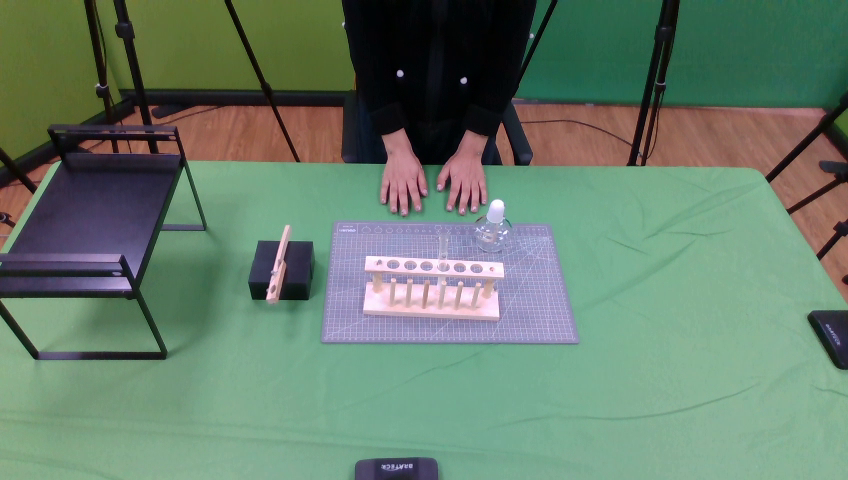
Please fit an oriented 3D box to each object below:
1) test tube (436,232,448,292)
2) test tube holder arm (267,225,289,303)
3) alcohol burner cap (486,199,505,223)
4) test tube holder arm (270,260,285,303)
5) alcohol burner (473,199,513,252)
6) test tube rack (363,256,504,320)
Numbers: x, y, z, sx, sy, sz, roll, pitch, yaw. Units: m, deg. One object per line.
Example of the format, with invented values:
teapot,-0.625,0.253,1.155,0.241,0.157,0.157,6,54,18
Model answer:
test tube,0.030,0.042,1.042,0.017,0.151,0.017,1,48,-1
test tube holder arm,-0.259,0.039,1.076,0.013,0.015,0.177,-5,46,2
alcohol burner cap,0.136,-0.058,1.148,0.034,0.048,0.033,4,51,-4
test tube holder arm,-0.252,0.071,1.045,0.010,0.015,0.087,-4,46,3
alcohol burner,0.135,-0.034,1.174,0.078,0.120,0.077,1,47,-1
test tube rack,0.015,0.085,1.069,0.242,0.085,0.066,3,46,-2
